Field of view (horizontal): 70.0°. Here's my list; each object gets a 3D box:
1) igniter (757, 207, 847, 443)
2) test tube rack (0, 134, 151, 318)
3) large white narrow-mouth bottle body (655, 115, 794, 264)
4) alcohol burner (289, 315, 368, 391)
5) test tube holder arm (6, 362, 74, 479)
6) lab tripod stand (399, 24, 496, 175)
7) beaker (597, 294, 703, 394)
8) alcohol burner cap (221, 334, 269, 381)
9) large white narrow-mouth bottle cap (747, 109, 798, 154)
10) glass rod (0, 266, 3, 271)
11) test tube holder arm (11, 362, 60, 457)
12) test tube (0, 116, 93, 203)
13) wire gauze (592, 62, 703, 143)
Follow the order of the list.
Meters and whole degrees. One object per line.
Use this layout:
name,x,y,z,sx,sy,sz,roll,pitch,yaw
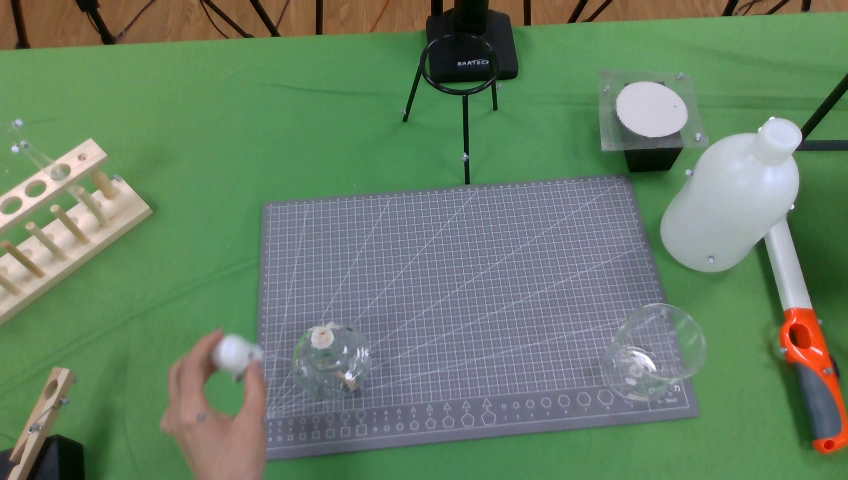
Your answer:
igniter,0.400,0.077,0.654,0.057,0.025,0.274,6,62,-9
test tube rack,-0.434,-0.002,0.658,0.066,0.086,0.242,41,70,19
large white narrow-mouth bottle body,0.317,-0.057,0.628,0.102,0.196,0.101,0,62,1
alcohol burner,-0.094,0.104,0.586,0.078,0.120,0.077,1,61,-1
test tube holder arm,-0.358,0.197,0.541,0.013,0.015,0.177,4,62,11
lab tripod stand,0.037,-0.172,0.721,0.148,0.132,0.147,1,63,-1
beaker,0.213,0.106,0.594,0.084,0.101,0.073,0,62,1
alcohol burner cap,-0.155,0.099,0.517,0.034,0.048,0.033,-1,60,2
large white narrow-mouth bottle cap,0.317,-0.099,0.552,0.038,0.024,0.037,0,62,0
glass rod,-0.467,-0.024,0.595,0.008,0.201,0.008,2,54,-2
test tube holder arm,-0.357,0.157,0.563,0.010,0.015,0.087,4,62,11
test tube,-0.399,-0.081,0.644,0.017,0.151,0.017,-2,64,4
wire gauze,0.267,-0.168,0.735,0.121,0.011,0.124,2,62,1
